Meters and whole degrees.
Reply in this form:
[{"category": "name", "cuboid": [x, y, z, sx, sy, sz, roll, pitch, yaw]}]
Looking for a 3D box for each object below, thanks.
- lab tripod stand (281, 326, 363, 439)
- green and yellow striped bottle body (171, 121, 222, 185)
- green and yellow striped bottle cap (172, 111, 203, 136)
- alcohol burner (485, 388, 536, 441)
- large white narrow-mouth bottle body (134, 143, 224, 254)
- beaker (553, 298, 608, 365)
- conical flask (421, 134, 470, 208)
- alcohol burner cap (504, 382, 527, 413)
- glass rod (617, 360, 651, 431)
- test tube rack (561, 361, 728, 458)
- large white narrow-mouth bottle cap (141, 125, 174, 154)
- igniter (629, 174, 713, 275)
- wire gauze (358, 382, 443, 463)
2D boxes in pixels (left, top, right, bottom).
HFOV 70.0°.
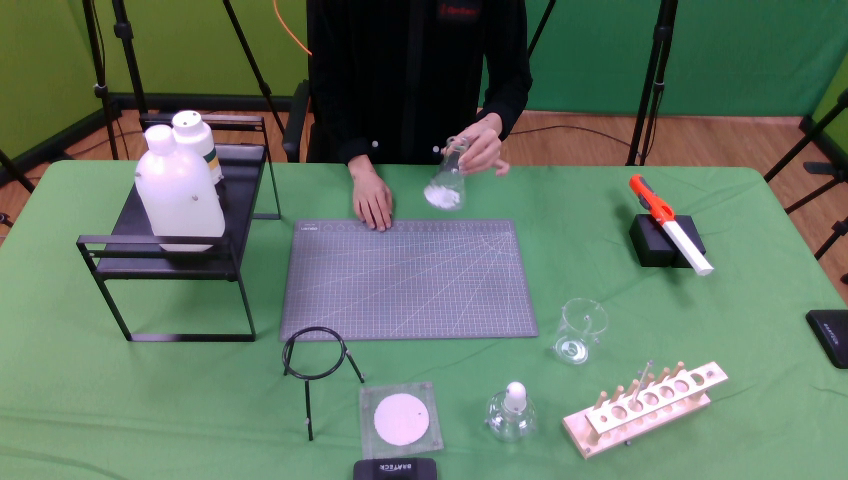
[{"category": "lab tripod stand", "cuboid": [-0.166, 0.202, 0.913, 0.148, 0.132, 0.147, 1, 47, -1]}, {"category": "green and yellow striped bottle body", "cuboid": [-0.375, -0.149, 0.995, 0.063, 0.120, 0.063, 2, 46, -2]}, {"category": "green and yellow striped bottle cap", "cuboid": [-0.374, -0.185, 0.958, 0.045, 0.020, 0.045, 4, 46, -4]}, {"category": "alcohol burner", "cuboid": [0.131, 0.249, 0.904, 0.078, 0.120, 0.077, 1, 48, -1]}, {"category": "large white narrow-mouth bottle body", "cuboid": [-0.358, -0.075, 0.875, 0.102, 0.195, 0.101, 2, 48, -1]}, {"category": "beaker", "cuboid": [0.260, 0.154, 1.014, 0.073, 0.101, 0.084, 37, 54, 27]}, {"category": "conical flask", "cuboid": [0.043, -0.120, 1.035, 0.075, 0.122, 0.075, 11, 39, -9]}, {"category": "alcohol burner cap", "cuboid": [0.133, 0.225, 0.877, 0.034, 0.048, 0.033, -4, 47, 4]}, {"category": "glass rod", "cuboid": [0.297, 0.227, 0.865, 0.008, 0.201, 0.008, -1, 47, 2]}, {"category": "test tube rack", "cuboid": [0.341, 0.248, 0.940, 0.243, 0.085, 0.066, -15, 49, -18]}, {"category": "large white narrow-mouth bottle cap", "cuboid": [-0.356, -0.134, 0.810, 0.038, 0.024, 0.037, 2, 48, -2]}, {"category": "igniter", "cuboid": [0.481, -0.040, 1.202, 0.057, 0.025, 0.274, -2, 46, -21]}, {"category": "wire gauze", "cuboid": [-0.039, 0.277, 0.937, 0.121, 0.011, 0.124, -4, 47, -7]}]
